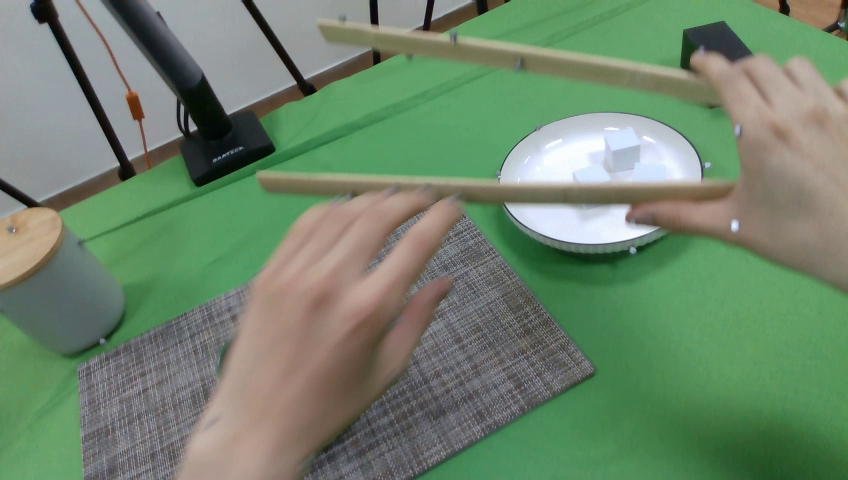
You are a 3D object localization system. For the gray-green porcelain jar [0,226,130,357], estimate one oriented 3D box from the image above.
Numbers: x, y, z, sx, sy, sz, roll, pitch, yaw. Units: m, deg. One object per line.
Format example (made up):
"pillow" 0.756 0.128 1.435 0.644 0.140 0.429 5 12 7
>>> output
"gray-green porcelain jar" -0.394 0.057 0.655 0.106 0.128 0.105 -8 46 9

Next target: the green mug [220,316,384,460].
"green mug" -0.097 0.124 0.515 0.125 0.106 0.091 -11 46 7

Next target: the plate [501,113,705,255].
"plate" 0.189 -0.060 0.653 0.207 0.039 0.205 -8 46 9

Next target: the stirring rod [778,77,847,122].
"stirring rod" 0.411 -0.115 0.582 0.006 0.014 0.174 -23 45 -10

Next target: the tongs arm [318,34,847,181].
"tongs arm" 0.091 -0.101 0.429 0.383 0.027 0.050 12 65 16

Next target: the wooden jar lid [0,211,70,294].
"wooden jar lid" -0.408 0.015 0.611 0.108 0.021 0.107 -7 49 8

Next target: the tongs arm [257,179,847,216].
"tongs arm" 0.072 -0.033 0.400 0.387 0.028 0.028 1 59 12
